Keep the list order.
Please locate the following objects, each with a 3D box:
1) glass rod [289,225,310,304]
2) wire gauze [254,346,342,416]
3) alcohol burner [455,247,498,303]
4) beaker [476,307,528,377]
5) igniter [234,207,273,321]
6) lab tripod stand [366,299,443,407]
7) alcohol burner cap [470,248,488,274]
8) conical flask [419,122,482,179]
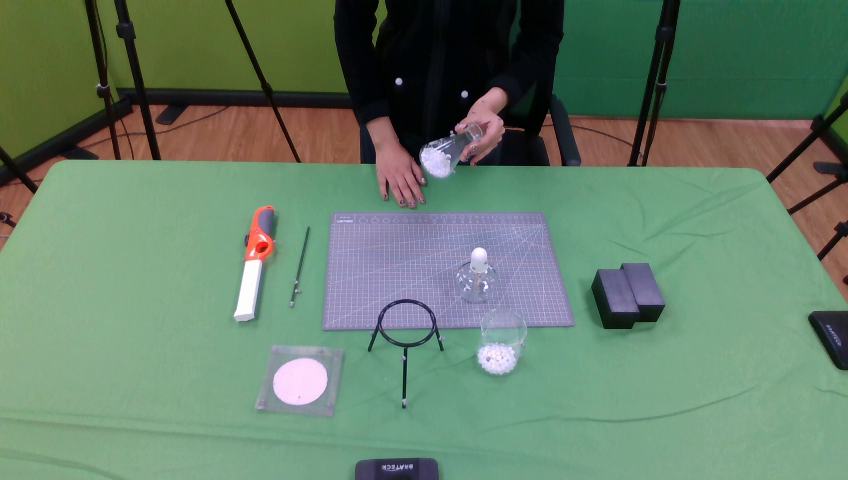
[{"bbox_3d":[-0.235,0.043,1.150,0.008,0.008,0.198,3,46,-1],"label":"glass rod"},{"bbox_3d":[-0.201,0.223,0.978,0.125,0.011,0.121,4,45,1],"label":"wire gauze"},{"bbox_3d":[0.095,0.057,1.085,0.078,0.120,0.077,1,47,-1],"label":"alcohol burner"},{"bbox_3d":[0.122,0.171,0.991,0.084,0.101,0.073,-34,56,-30],"label":"beaker"},{"bbox_3d":[-0.319,0.035,1.137,0.057,0.025,0.274,-7,46,3],"label":"igniter"},{"bbox_3d":[-0.028,0.165,0.961,0.148,0.132,0.147,3,44,-2],"label":"lab tripod stand"},{"bbox_3d":[0.095,0.034,1.057,0.034,0.048,0.033,-3,52,4],"label":"alcohol burner cap"},{"bbox_3d":[0.053,-0.170,1.116,0.076,0.122,0.075,24,50,-32],"label":"conical flask"}]
